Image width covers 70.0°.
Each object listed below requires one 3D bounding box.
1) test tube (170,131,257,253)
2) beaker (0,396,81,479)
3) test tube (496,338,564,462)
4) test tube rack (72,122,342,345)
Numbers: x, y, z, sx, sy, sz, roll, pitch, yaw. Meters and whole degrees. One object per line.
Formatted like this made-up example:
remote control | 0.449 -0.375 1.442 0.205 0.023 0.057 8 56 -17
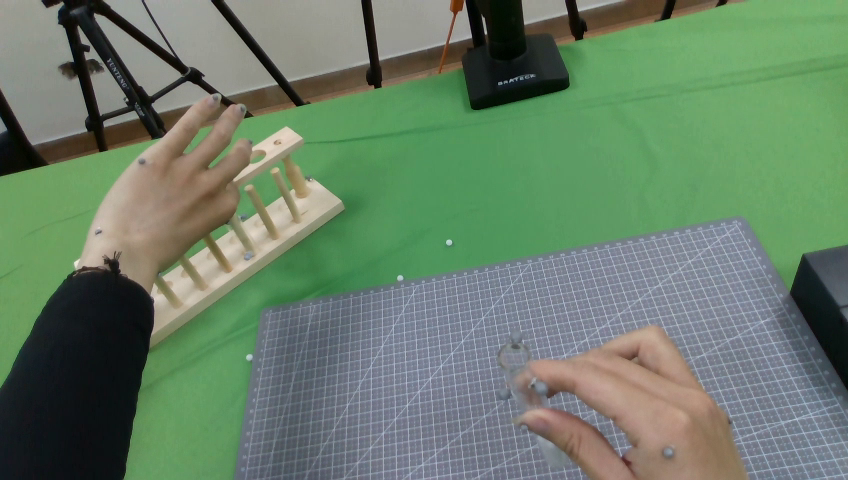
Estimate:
test tube | -0.196 -0.041 0.573 0.017 0.152 0.017 -9 46 10
beaker | -0.323 0.177 0.465 0.073 0.101 0.083 10 52 24
test tube | 0.062 0.094 0.334 0.017 0.152 0.017 -10 52 14
test tube rack | -0.209 -0.012 0.611 0.242 0.086 0.066 -38 49 -18
